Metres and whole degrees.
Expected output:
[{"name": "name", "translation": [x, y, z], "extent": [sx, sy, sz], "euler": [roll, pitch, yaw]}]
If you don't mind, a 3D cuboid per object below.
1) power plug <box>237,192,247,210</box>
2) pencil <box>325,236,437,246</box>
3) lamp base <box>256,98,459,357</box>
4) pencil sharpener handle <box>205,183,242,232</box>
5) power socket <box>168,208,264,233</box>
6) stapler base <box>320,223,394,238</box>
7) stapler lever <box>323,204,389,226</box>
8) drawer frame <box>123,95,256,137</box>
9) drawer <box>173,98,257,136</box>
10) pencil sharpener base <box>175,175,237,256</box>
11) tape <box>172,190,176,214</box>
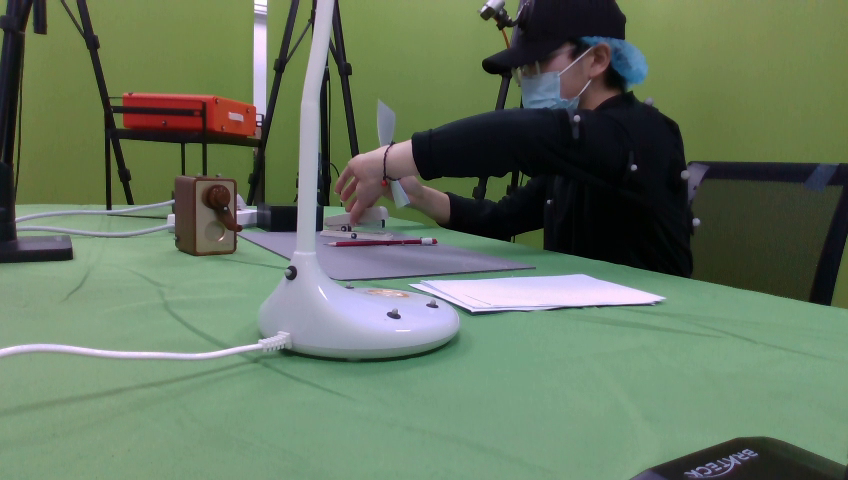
[{"name": "power plug", "translation": [-0.386, -0.071, 1.204], "extent": [0.072, 0.052, 0.035], "euler": [7, 8, 26]}, {"name": "pencil", "translation": [-0.066, 0.003, 0.979], "extent": [0.195, 0.012, 0.012], "euler": [-3, 9, -25]}, {"name": "lamp base", "translation": [-0.055, -0.013, 0.463], "extent": [0.160, 0.180, 0.180], "euler": [6, 11, 27]}, {"name": "pencil sharpener handle", "translation": [-0.265, -0.043, 0.812], "extent": [0.036, 0.068, 0.030], "euler": [-32, 28, -35]}, {"name": "power socket", "translation": [-0.381, -0.038, 1.129], "extent": [0.072, 0.032, 0.227], "euler": [4, 8, 17]}, {"name": "stapler base", "translation": [-0.118, -0.018, 1.071], "extent": [0.130, 0.024, 0.041], "euler": [2, 6, 15]}, {"name": "stapler lever", "translation": [-0.120, -0.044, 1.067], "extent": [0.118, 0.040, 0.027], "euler": [2, 6, 15]}, {"name": "drawer frame", "translation": [-0.524, -0.281, 1.376], "extent": [0.213, 0.082, 0.202], "euler": [3, 8, 8]}, {"name": "drawer", "translation": [-0.518, -0.279, 1.376], "extent": [0.211, 0.073, 0.195], "euler": [3, 8, 10]}, {"name": "pencil sharpener base", "translation": [-0.304, -0.035, 0.847], "extent": [0.062, 0.107, 0.076], "euler": [-4, 10, -42]}, {"name": "tape", "translation": [-0.515, -0.087, 1.388], "extent": [0.117, 0.052, 0.117], "euler": [3, 7, 0]}]
